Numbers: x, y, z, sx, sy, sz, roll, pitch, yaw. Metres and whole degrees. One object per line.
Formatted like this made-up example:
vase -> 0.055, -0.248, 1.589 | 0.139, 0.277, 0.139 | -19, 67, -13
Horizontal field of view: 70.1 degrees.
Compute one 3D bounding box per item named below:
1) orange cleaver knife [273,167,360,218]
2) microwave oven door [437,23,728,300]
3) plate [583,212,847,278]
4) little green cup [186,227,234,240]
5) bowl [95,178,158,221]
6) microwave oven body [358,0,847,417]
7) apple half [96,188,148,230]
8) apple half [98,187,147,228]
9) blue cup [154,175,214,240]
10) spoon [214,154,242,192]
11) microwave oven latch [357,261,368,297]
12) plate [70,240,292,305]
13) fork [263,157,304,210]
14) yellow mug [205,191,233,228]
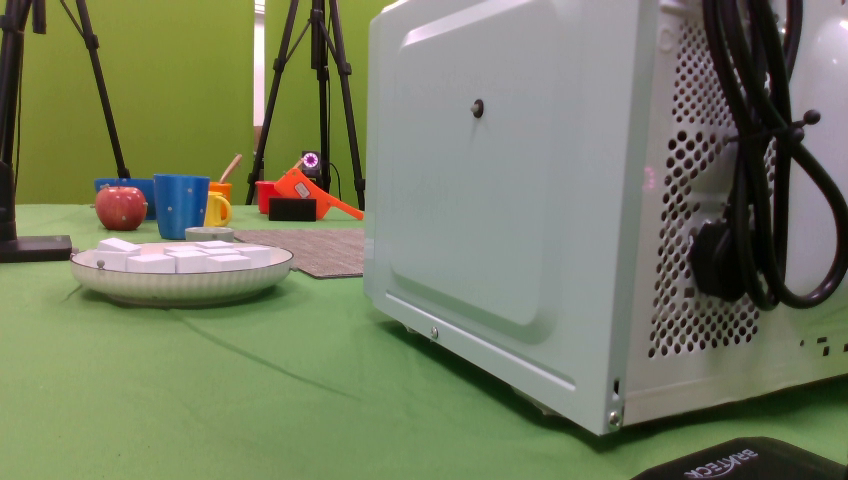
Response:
orange cleaver knife -> -0.238, -0.091, 1.381 | 0.212, 0.077, 0.012 | 31, 0, -19
microwave oven door -> 0.181, -0.072, 0.621 | 0.358, 0.243, 0.039 | -2, 8, -29
plate -> 0.239, 0.001, 0.510 | 0.209, 0.038, 0.209 | 2, 6, 0
little green cup -> -0.284, 0.005, 0.805 | 0.061, 0.038, 0.061 | 2, 8, 0
bowl -> -0.576, -0.081, 1.217 | 0.151, 0.077, 0.151 | 3, 8, 0
microwave oven body -> 0.211, -0.047, 0.474 | 0.444, 0.260, 0.324 | -1, 7, -28
apple half -> -0.517, -0.052, 1.036 | 0.081, 0.074, 0.053 | 3, 10, -26
apple half -> -0.534, -0.059, 1.071 | 0.082, 0.081, 0.032 | -1, 11, -25
blue cup -> -0.390, -0.053, 0.978 | 0.093, 0.100, 0.092 | 3, 6, 0
spoon -> -0.439, -0.124, 1.317 | 0.041, 0.193, 0.022 | 5, -36, 16
microwave oven latch -> -0.019, 0.033, 0.530 | 0.079, 0.029, 0.030 | -1, 7, -27
plate -> -0.242, 0.031, 0.618 | 0.208, 0.039, 0.207 | 2, 8, 0
fork -> -0.345, -0.143, 1.505 | 0.028, 0.019, 0.207 | -5, 45, 29
yellow mug -> -0.415, -0.057, 1.132 | 0.130, 0.064, 0.100 | 6, 8, 16
